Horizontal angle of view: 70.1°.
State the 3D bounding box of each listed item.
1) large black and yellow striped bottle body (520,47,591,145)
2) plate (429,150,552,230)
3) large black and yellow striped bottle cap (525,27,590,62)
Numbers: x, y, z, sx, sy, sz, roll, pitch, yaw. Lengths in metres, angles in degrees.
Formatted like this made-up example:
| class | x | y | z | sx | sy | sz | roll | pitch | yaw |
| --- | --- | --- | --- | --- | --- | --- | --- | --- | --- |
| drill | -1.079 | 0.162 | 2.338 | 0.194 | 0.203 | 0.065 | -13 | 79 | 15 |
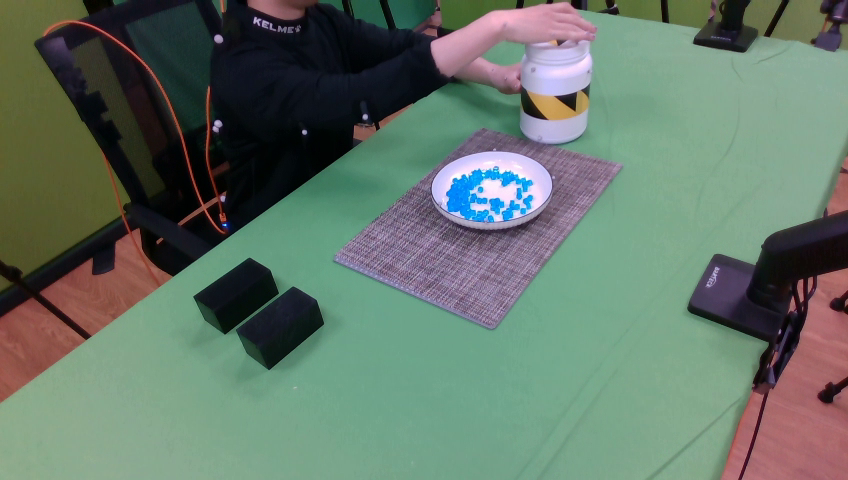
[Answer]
| class | x | y | z | sx | sy | sz | roll | pitch | yaw |
| --- | --- | --- | --- | --- | --- | --- | --- | --- | --- |
| large black and yellow striped bottle body | 0.248 | -0.290 | 1.148 | 0.131 | 0.185 | 0.130 | -4 | 40 | 4 |
| plate | 0.113 | -0.082 | 1.032 | 0.207 | 0.039 | 0.206 | -4 | 41 | 4 |
| large black and yellow striped bottle cap | 0.240 | -0.355 | 1.091 | 0.115 | 0.019 | 0.114 | -5 | 40 | 4 |
